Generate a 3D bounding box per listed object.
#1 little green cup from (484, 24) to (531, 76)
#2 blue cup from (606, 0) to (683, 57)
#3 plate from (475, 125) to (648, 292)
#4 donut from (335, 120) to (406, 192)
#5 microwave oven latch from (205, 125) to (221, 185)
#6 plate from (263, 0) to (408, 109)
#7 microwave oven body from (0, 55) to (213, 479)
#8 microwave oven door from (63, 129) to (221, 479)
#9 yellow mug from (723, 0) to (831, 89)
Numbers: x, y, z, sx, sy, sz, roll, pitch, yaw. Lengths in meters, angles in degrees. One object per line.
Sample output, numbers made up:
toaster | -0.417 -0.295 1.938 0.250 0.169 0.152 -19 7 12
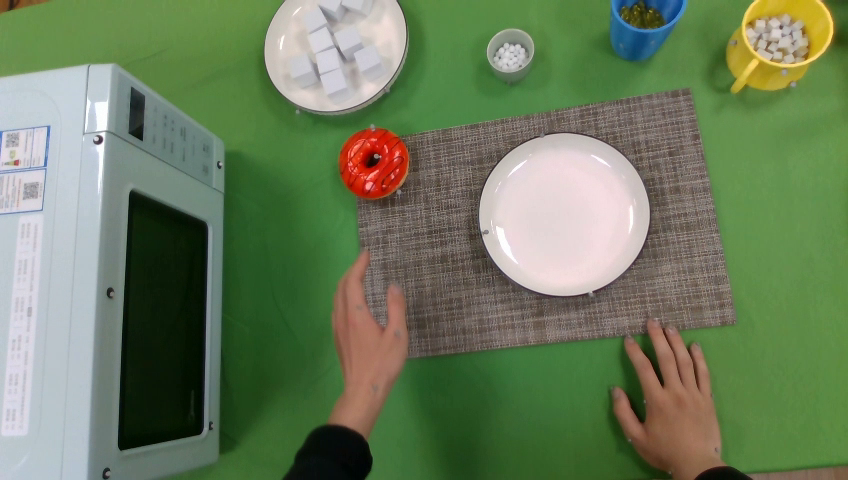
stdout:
little green cup | 0.112 -0.249 0.804 0.061 0.039 0.061 -2 79 10
blue cup | 0.265 -0.277 0.750 0.092 0.100 0.092 -1 81 9
plate | 0.168 -0.038 0.753 0.209 0.038 0.208 -2 80 10
donut | -0.071 -0.111 0.805 0.099 0.048 0.098 -2 81 11
microwave oven latch | -0.298 -0.116 0.834 0.030 0.029 0.079 -2 80 9
plate | -0.122 -0.278 0.851 0.207 0.039 0.207 -2 80 10
microwave oven body | -0.452 0.052 0.732 0.325 0.261 0.440 -5 80 9
microwave oven door | -0.308 0.081 0.696 0.039 0.245 0.354 -5 79 9
yellow mug | 0.414 -0.237 0.734 0.099 0.064 0.131 41 90 14
